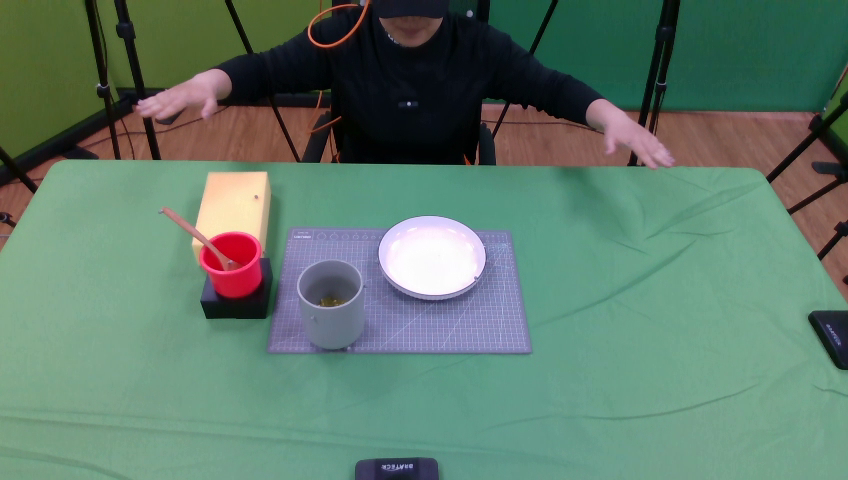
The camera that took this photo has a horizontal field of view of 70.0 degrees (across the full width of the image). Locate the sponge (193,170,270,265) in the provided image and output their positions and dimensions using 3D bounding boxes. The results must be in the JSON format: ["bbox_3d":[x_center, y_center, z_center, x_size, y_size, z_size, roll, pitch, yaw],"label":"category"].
[{"bbox_3d":[-0.371,-0.047,1.189,0.118,0.061,0.205,-2,47,-6],"label":"sponge"}]

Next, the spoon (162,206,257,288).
[{"bbox_3d":[-0.355,0.011,1.006,0.194,0.021,0.041,48,45,-19],"label":"spoon"}]

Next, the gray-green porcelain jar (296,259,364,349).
[{"bbox_3d":[-0.152,0.111,1.003,0.106,0.127,0.105,2,46,-2],"label":"gray-green porcelain jar"}]

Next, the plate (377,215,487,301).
[{"bbox_3d":[0.014,0.037,1.147,0.208,0.039,0.206,2,46,-2],"label":"plate"}]
